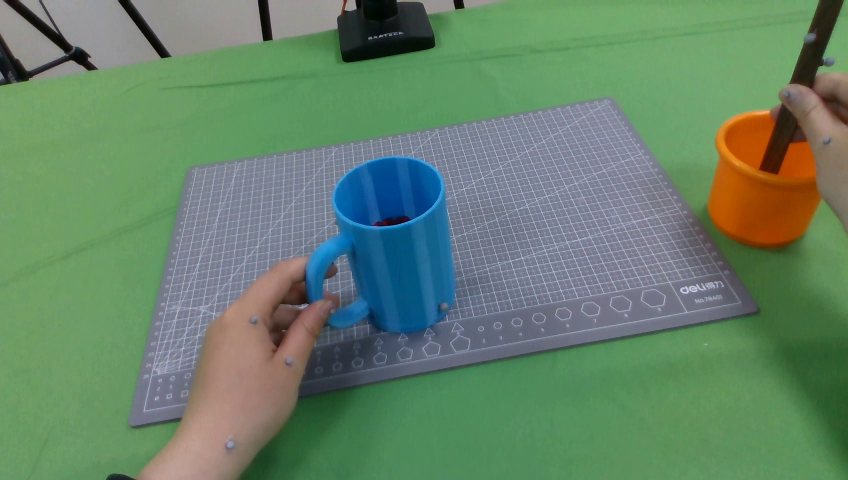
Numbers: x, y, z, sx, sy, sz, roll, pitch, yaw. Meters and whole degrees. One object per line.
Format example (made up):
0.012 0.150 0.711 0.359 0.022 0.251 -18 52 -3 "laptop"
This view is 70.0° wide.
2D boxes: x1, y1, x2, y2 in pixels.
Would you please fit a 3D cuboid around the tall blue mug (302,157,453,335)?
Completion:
-0.026 0.016 0.427 0.077 0.109 0.106 13 48 19 "tall blue mug"

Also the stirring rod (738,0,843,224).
0.253 -0.085 0.425 0.006 0.178 0.014 -31 47 -32 "stirring rod"
